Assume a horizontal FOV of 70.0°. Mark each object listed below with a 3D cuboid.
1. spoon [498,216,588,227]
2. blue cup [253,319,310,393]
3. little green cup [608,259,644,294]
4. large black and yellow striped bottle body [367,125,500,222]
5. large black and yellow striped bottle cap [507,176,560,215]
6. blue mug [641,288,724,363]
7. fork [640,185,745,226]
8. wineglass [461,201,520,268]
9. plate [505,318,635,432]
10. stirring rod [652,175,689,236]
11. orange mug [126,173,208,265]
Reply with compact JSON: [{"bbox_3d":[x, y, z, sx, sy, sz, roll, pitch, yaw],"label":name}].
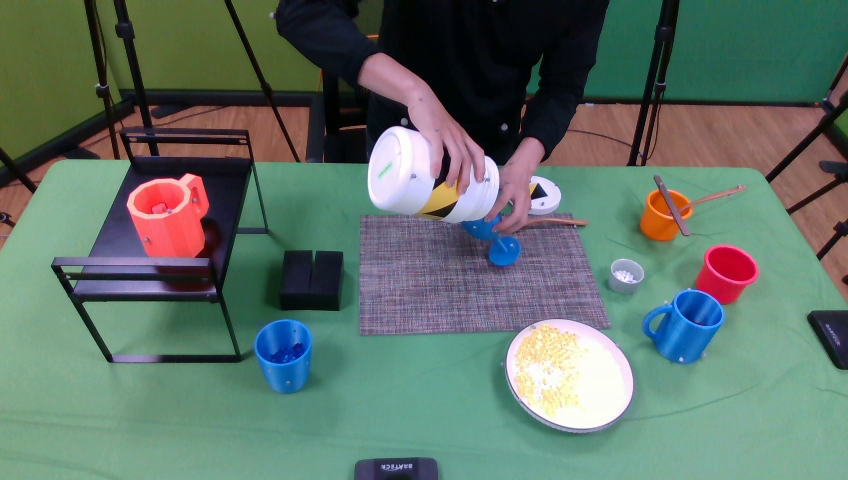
[{"bbox_3d":[0.246,-0.039,1.247,0.194,0.022,0.041,-1,25,-6],"label":"spoon"},{"bbox_3d":[-0.217,0.187,0.943,0.093,0.101,0.092,4,45,-3],"label":"blue cup"},{"bbox_3d":[0.379,0.070,1.147,0.061,0.039,0.061,3,45,-3],"label":"little green cup"},{"bbox_3d":[0.015,-0.099,0.964,0.185,0.131,0.130,9,41,-31],"label":"large black and yellow striped bottle body"},{"bbox_3d":[0.237,-0.098,1.312,0.115,0.019,0.114,2,42,-1],"label":"large black and yellow striped bottle cap"},{"bbox_3d":[0.432,0.144,1.033,0.116,0.106,0.082,9,46,5],"label":"blue mug"},{"bbox_3d":[0.534,-0.069,1.215,0.207,0.019,0.028,-26,27,33],"label":"fork"},{"bbox_3d":[0.119,-0.020,1.100,0.073,0.173,0.073,-13,56,21],"label":"wineglass"},{"bbox_3d":[0.235,0.221,0.991,0.209,0.038,0.208,2,45,-2],"label":"plate"},{"bbox_3d":[0.491,-0.072,1.211,0.014,0.006,0.175,0,46,-6],"label":"stirring rod"},{"bbox_3d":[-0.371,-0.039,0.902,0.083,0.101,0.126,18,52,13],"label":"orange mug"}]
